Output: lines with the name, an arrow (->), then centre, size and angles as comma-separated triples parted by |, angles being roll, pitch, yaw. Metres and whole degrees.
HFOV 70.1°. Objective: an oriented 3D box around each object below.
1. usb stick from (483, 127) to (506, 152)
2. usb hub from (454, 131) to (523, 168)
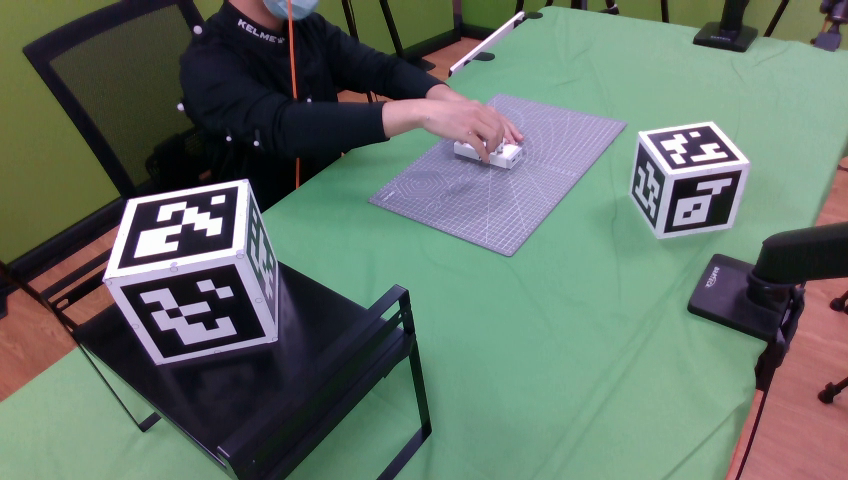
usb stick -> 0.130, -0.178, 1.091 | 0.021, 0.060, 0.027 | 10, 74, 36
usb hub -> 0.121, -0.171, 1.145 | 0.124, 0.025, 0.049 | 21, 49, 27
